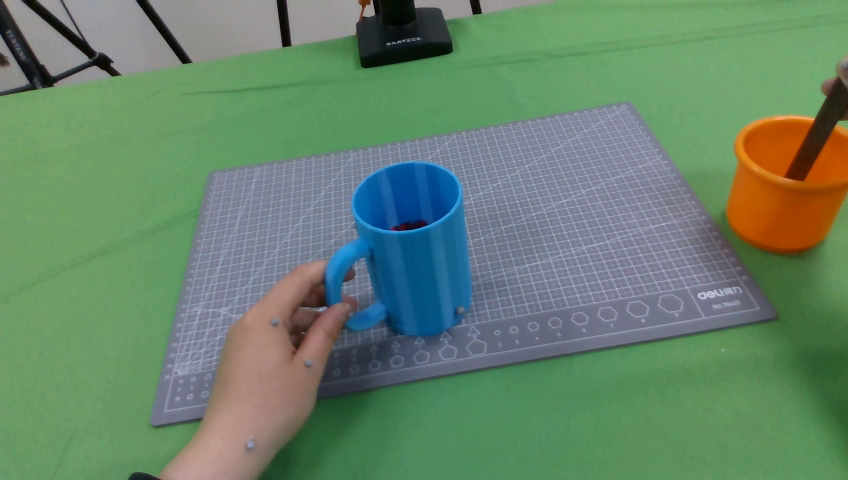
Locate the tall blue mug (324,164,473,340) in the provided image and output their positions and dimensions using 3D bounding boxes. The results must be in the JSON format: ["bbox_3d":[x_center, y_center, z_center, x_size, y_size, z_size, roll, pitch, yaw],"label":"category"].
[{"bbox_3d":[-0.012,0.021,0.432,0.077,0.109,0.106,13,48,21],"label":"tall blue mug"}]

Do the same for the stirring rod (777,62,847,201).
[{"bbox_3d":[0.275,-0.095,0.398,0.006,0.178,0.014,-31,52,-28],"label":"stirring rod"}]
